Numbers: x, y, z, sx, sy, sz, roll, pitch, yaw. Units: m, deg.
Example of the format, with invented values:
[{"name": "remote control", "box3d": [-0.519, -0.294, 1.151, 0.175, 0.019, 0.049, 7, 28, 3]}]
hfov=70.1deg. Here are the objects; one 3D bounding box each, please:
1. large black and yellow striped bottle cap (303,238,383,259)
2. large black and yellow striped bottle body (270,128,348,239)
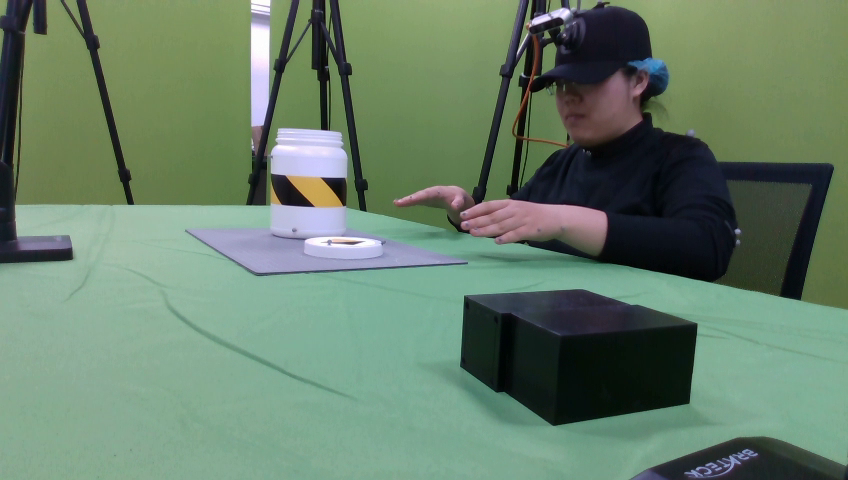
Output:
[{"name": "large black and yellow striped bottle cap", "box3d": [-0.117, 0.011, 0.880, 0.115, 0.019, 0.115, 2, 6, 0]}, {"name": "large black and yellow striped bottle body", "box3d": [-0.200, -0.099, 1.053, 0.131, 0.184, 0.130, 3, 8, 0]}]
